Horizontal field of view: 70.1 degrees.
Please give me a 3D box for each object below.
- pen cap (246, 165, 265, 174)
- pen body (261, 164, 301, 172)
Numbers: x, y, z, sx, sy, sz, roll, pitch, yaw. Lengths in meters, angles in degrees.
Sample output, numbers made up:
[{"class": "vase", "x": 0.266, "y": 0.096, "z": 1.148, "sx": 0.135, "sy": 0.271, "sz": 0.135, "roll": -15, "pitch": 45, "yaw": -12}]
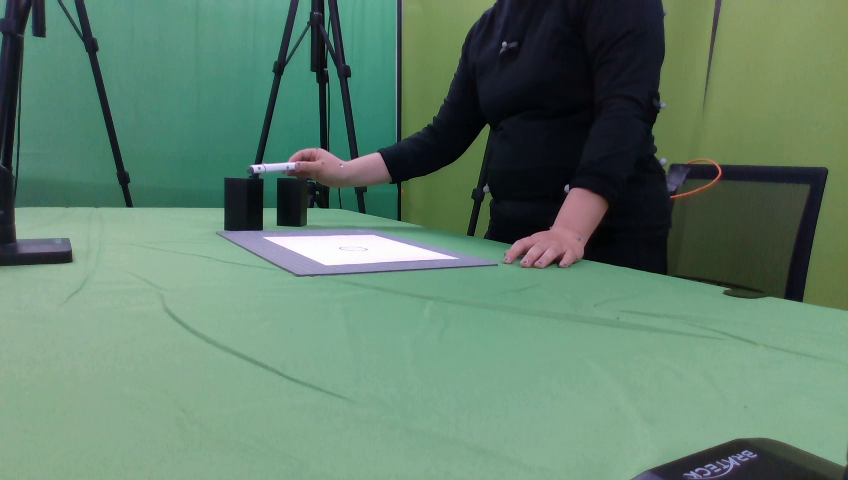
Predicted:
[{"class": "pen cap", "x": -0.323, "y": -0.134, "z": 1.156, "sx": 0.017, "sy": 0.017, "sz": 0.038, "roll": 6, "pitch": 11, "yaw": 23}, {"class": "pen body", "x": -0.295, "y": -0.144, "z": 1.213, "sx": 0.017, "sy": 0.017, "sz": 0.144, "roll": 6, "pitch": 9, "yaw": 24}]
